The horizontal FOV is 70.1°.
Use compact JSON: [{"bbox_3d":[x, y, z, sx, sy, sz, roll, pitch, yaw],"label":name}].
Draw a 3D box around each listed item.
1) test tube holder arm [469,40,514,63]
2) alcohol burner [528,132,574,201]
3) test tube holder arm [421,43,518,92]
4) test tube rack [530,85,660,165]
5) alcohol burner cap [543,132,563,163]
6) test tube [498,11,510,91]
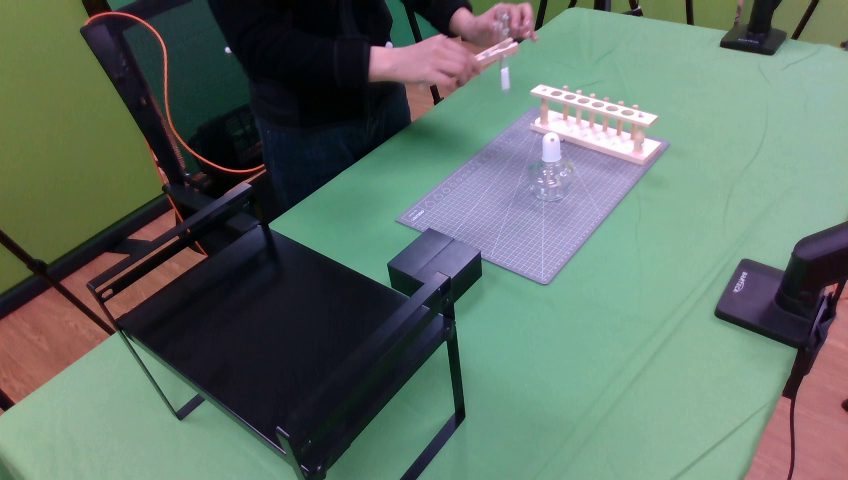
[{"bbox_3d":[0.111,-0.307,0.999,0.088,0.015,0.010,-32,48,-16],"label":"test tube holder arm"},{"bbox_3d":[0.214,-0.126,1.016,0.078,0.119,0.077,-5,39,5],"label":"alcohol burner"},{"bbox_3d":[0.075,-0.283,0.985,0.179,0.015,0.013,-27,46,-12],"label":"test tube holder arm"},{"bbox_3d":[0.320,-0.226,1.140,0.240,0.085,0.067,27,51,34],"label":"test tube rack"},{"bbox_3d":[0.211,-0.154,0.994,0.034,0.048,0.033,-7,35,6],"label":"alcohol burner cap"},{"bbox_3d":[0.134,-0.311,1.007,0.017,0.151,0.017,-5,51,6],"label":"test tube"}]
